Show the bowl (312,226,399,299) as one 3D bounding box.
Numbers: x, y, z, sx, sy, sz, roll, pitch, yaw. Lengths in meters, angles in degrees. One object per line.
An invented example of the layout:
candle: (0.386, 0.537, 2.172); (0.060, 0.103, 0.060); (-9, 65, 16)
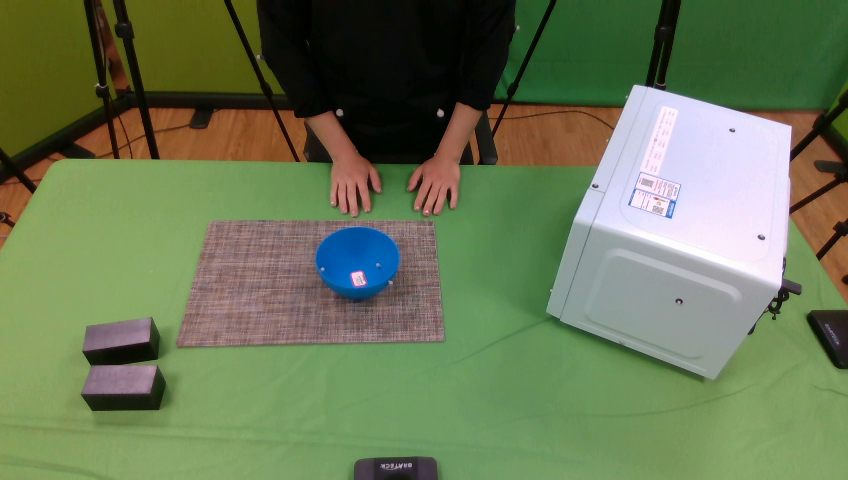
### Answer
bowl: (-0.120, 0.054, 1.091); (0.151, 0.077, 0.150); (2, 46, -2)

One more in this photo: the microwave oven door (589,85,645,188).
microwave oven door: (0.342, -0.107, 1.149); (0.039, 0.245, 0.354); (20, 48, 15)

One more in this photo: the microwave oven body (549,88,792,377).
microwave oven body: (0.456, -0.028, 1.088); (0.325, 0.261, 0.440); (20, 47, 16)

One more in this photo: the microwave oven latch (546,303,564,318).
microwave oven latch: (0.242, 0.102, 1.081); (0.030, 0.029, 0.079); (21, 48, 17)
